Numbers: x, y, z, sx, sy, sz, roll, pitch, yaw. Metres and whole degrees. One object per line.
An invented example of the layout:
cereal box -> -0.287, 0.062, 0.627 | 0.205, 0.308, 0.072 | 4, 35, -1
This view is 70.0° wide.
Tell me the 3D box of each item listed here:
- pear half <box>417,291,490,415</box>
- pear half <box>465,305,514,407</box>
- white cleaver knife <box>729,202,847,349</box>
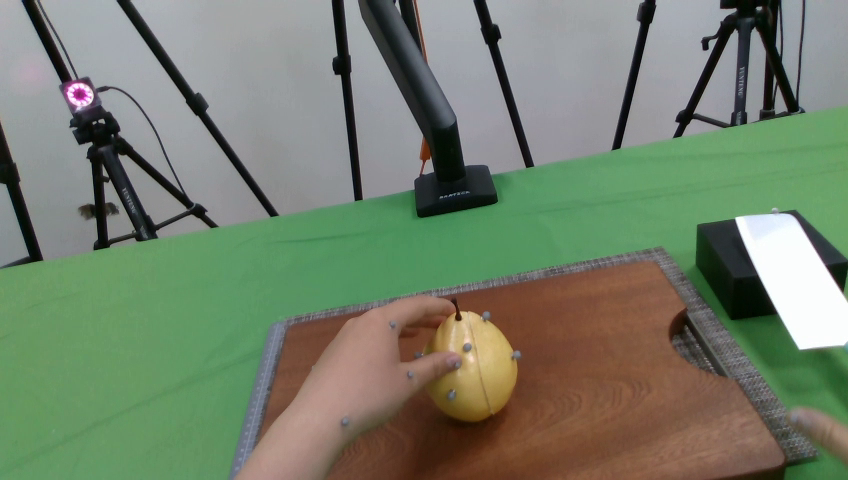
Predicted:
pear half -> 0.019, 0.089, 0.490 | 0.056, 0.110, 0.075 | -12, 25, 1
pear half -> 0.056, 0.091, 0.492 | 0.031, 0.088, 0.070 | -12, 21, 1
white cleaver knife -> 0.332, 0.064, 0.508 | 0.066, 0.022, 0.283 | -11, 42, 9
